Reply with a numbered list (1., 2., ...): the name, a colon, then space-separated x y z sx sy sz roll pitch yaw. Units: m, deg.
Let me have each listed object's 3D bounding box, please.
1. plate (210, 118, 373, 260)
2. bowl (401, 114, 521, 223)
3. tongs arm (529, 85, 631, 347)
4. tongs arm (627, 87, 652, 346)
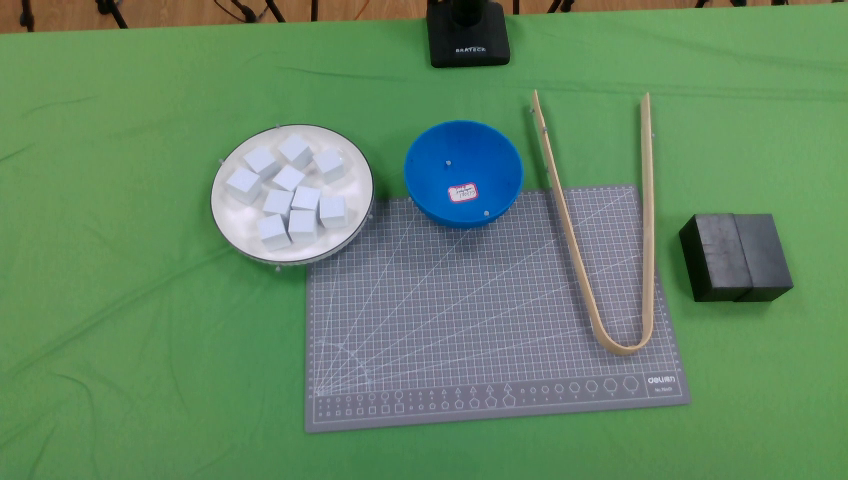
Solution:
1. plate: -0.169 -0.066 0.793 0.208 0.039 0.206 0 65 0
2. bowl: 0.045 -0.078 0.782 0.151 0.077 0.150 1 65 -2
3. tongs arm: 0.198 -0.046 0.798 0.051 0.027 0.381 -4 66 -7
4. tongs arm: 0.285 -0.045 0.803 0.028 0.028 0.385 11 65 -4
